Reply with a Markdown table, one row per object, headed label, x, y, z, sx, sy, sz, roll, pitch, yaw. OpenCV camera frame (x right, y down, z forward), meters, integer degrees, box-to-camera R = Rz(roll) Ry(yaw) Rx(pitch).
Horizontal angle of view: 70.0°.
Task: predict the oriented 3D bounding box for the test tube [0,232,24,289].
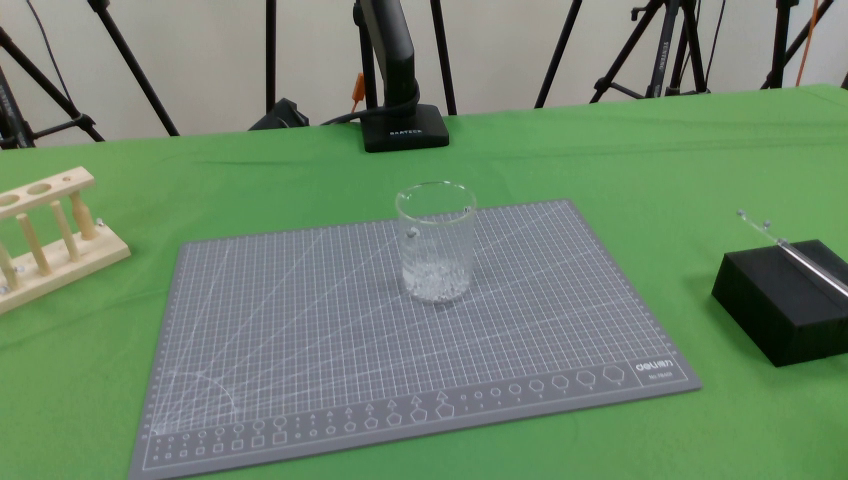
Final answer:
| label | x | y | z | sx | sy | sz | roll | pitch | yaw |
| --- | --- | --- | --- | --- | --- | --- | --- | --- | --- |
| test tube | -0.397 | -0.017 | 0.547 | 0.017 | 0.151 | 0.017 | 1 | 36 | 0 |

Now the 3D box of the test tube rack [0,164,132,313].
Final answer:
| label | x | y | z | sx | sy | sz | roll | pitch | yaw |
| --- | --- | --- | --- | --- | --- | --- | --- | --- | --- |
| test tube rack | -0.422 | 0.019 | 0.576 | 0.242 | 0.086 | 0.066 | -31 | 47 | -34 |

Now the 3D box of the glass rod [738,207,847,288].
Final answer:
| label | x | y | z | sx | sy | sz | roll | pitch | yaw |
| --- | --- | --- | --- | --- | --- | --- | --- | --- | --- |
| glass rod | 0.354 | 0.022 | 0.537 | 0.008 | 0.008 | 0.197 | -13 | 38 | -16 |

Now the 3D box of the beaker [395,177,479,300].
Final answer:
| label | x | y | z | sx | sy | sz | roll | pitch | yaw |
| --- | --- | --- | --- | --- | --- | --- | --- | --- | --- |
| beaker | 0.009 | 0.000 | 0.578 | 0.083 | 0.101 | 0.074 | 26 | 44 | 32 |
